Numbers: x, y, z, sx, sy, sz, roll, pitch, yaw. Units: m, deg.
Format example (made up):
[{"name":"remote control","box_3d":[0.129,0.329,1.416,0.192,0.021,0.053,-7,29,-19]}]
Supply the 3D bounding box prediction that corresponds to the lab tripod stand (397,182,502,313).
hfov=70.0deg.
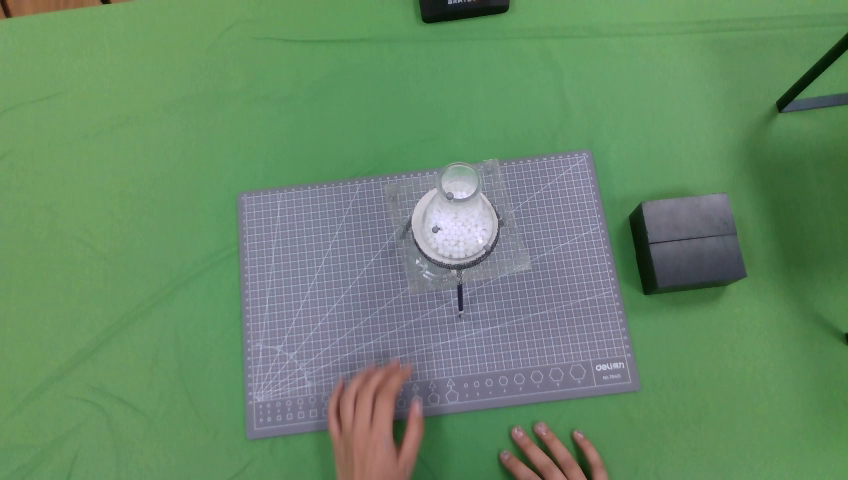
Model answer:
[{"name":"lab tripod stand","box_3d":[0.034,-0.004,0.672,0.148,0.132,0.147,0,73,1]}]

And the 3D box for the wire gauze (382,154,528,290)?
[{"name":"wire gauze","box_3d":[0.030,-0.019,0.608,0.125,0.011,0.121,-12,77,-5]}]

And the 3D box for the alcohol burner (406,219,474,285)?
[{"name":"alcohol burner","box_3d":[0.018,0.009,0.679,0.078,0.119,0.077,0,74,0]}]

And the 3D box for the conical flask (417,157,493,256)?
[{"name":"conical flask","box_3d":[0.029,-0.035,0.551,0.075,0.122,0.075,0,74,2]}]
